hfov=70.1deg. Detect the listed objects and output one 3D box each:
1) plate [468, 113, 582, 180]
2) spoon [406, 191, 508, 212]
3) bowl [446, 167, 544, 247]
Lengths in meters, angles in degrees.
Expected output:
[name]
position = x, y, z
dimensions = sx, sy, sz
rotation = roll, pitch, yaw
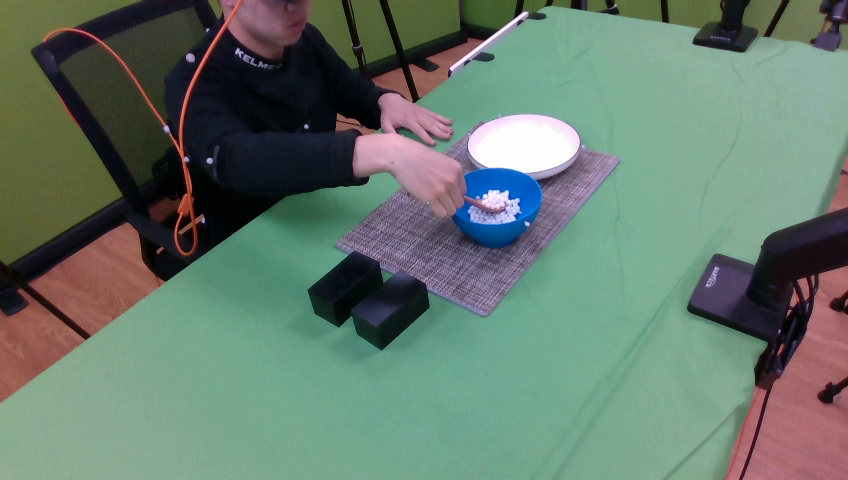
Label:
[plate]
position = 0.186, -0.169, 1.122
dimensions = 0.207, 0.039, 0.206
rotation = -4, 41, 4
[spoon]
position = 0.052, -0.063, 0.921
dimensions = 0.195, 0.021, 0.041
rotation = 7, 25, -38
[bowl]
position = 0.112, -0.042, 0.952
dimensions = 0.151, 0.077, 0.150
rotation = -4, 40, 4
